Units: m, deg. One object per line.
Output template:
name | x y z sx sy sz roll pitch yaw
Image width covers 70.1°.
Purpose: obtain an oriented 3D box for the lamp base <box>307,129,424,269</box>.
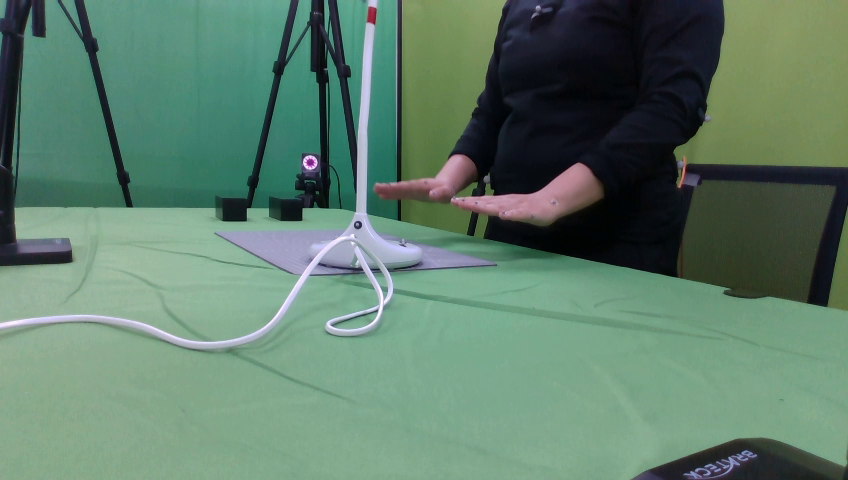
lamp base | -0.076 -0.057 0.811 0.161 0.180 0.179 2 10 -4
